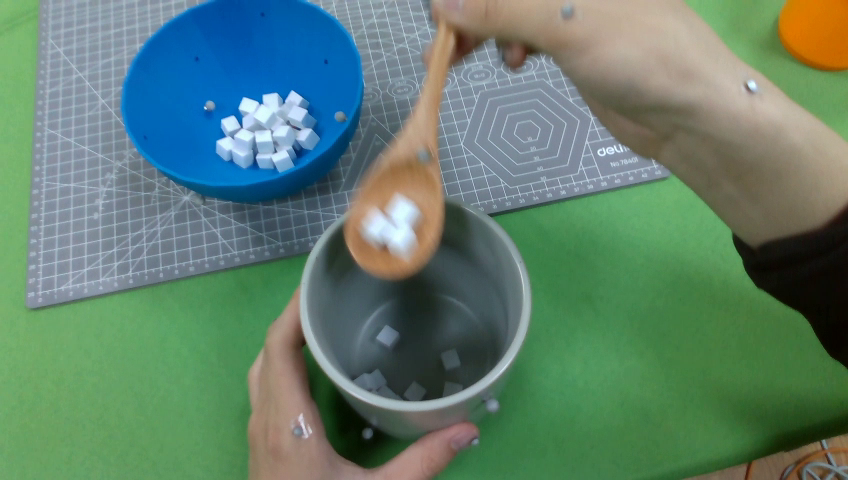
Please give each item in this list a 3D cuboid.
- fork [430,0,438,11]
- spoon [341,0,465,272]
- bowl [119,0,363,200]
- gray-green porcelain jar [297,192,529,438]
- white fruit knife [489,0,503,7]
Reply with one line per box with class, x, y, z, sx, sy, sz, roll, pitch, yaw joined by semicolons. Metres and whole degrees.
fork;-0.012;-0.284;0.497;0.028;0.018;0.207;-14;85;-11
spoon;0.006;-0.080;0.260;0.041;0.021;0.194;17;95;5
bowl;-0.112;-0.083;0.410;0.151;0.077;0.150;0;66;1
gray-green porcelain jar;-0.003;0.048;0.327;0.106;0.127;0.105;-1;66;2
white fruit knife;0.037;-0.292;0.501;0.016;0.027;0.206;-12;80;-6
